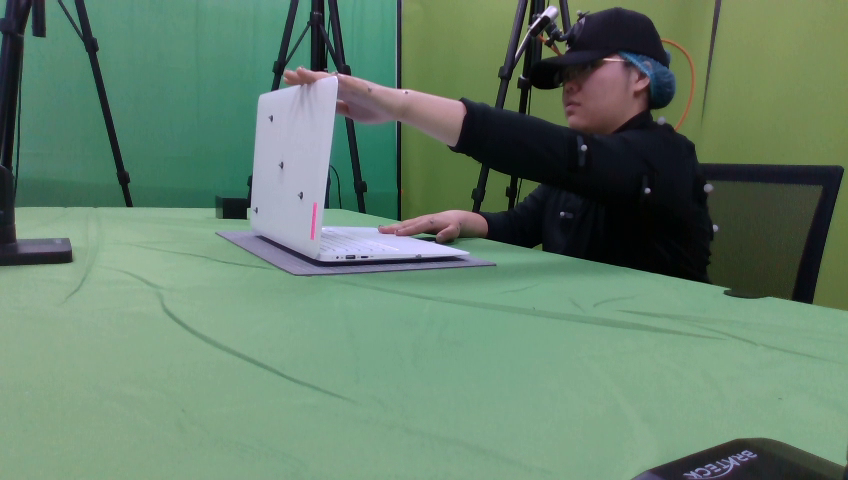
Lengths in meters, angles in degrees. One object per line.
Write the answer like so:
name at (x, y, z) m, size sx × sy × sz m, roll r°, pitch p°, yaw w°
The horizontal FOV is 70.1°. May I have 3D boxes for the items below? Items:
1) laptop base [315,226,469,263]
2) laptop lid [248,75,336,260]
laptop base at (-0.117, 0.005, 0.970) m, size 0.237 × 0.023 × 0.352 m, roll 2°, pitch 6°, yaw -30°
laptop lid at (-0.209, -0.111, 0.899) m, size 0.013 × 0.241 × 0.355 m, roll 4°, pitch 7°, yaw -30°
